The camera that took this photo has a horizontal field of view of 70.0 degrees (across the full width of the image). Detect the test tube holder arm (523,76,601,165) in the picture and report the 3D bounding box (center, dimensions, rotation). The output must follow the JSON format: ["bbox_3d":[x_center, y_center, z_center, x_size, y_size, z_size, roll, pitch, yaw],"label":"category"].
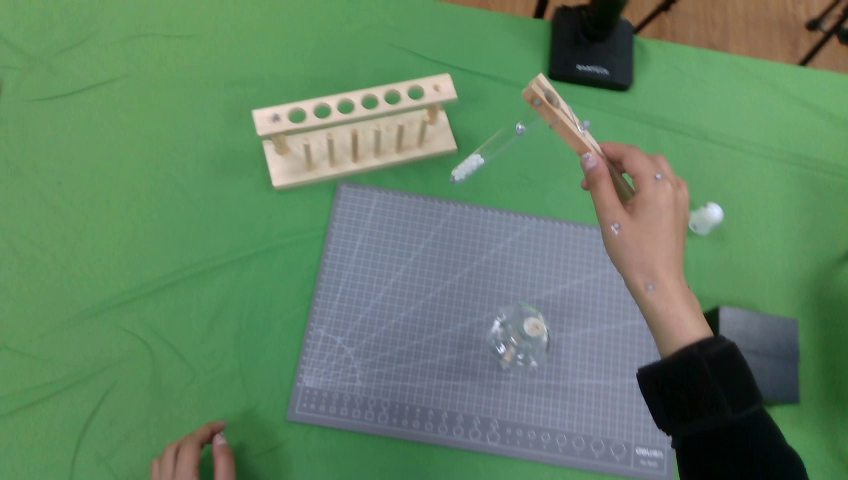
[{"bbox_3d":[0.114,-0.097,0.496,0.088,0.015,0.010,44,46,-15],"label":"test tube holder arm"}]

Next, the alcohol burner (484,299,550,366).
[{"bbox_3d":[0.109,0.101,0.683,0.078,0.119,0.077,2,73,-6],"label":"alcohol burner"}]

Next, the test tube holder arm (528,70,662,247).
[{"bbox_3d":[0.146,-0.066,0.508,0.179,0.015,0.013,51,45,-8],"label":"test tube holder arm"}]

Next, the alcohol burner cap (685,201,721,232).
[{"bbox_3d":[0.368,-0.033,0.794,0.034,0.048,0.033,1,70,-4],"label":"alcohol burner cap"}]

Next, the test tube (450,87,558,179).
[{"bbox_3d":[0.067,-0.092,0.549,0.017,0.150,0.017,13,63,-27],"label":"test tube"}]

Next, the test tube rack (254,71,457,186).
[{"bbox_3d":[-0.078,-0.139,0.759,0.243,0.085,0.066,-13,73,-10],"label":"test tube rack"}]
